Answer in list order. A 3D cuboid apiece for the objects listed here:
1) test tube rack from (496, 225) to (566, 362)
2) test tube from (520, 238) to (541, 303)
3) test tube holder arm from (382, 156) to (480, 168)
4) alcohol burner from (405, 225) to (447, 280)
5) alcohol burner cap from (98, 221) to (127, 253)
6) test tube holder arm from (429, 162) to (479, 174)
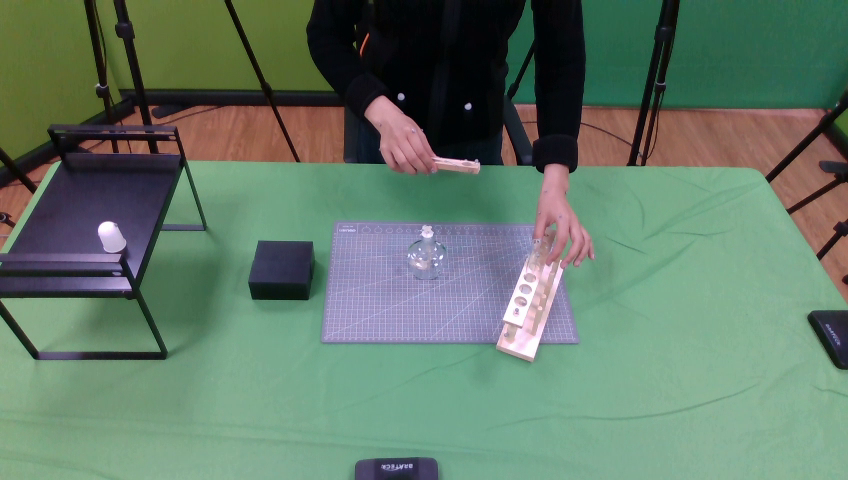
[{"bbox_3d":[0.200,0.089,1.080,0.066,0.085,0.241,19,48,13],"label":"test tube rack"},{"bbox_3d":[0.182,0.056,1.042,0.017,0.151,0.017,1,43,-1],"label":"test tube"},{"bbox_3d":[0.011,-0.137,1.078,0.178,0.015,0.013,6,54,15],"label":"test tube holder arm"},{"bbox_3d":[0.005,0.017,1.115,0.078,0.120,0.077,1,47,-1],"label":"alcohol burner"},{"bbox_3d":[-0.468,-0.007,0.905,0.034,0.048,0.033,3,46,-3],"label":"alcohol burner cap"},{"bbox_3d":[0.052,-0.127,1.063,0.087,0.015,0.010,8,54,16],"label":"test tube holder arm"}]
